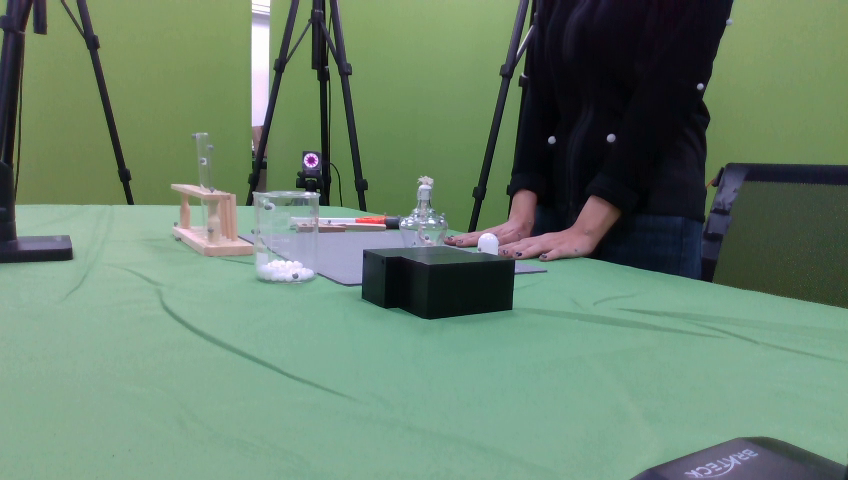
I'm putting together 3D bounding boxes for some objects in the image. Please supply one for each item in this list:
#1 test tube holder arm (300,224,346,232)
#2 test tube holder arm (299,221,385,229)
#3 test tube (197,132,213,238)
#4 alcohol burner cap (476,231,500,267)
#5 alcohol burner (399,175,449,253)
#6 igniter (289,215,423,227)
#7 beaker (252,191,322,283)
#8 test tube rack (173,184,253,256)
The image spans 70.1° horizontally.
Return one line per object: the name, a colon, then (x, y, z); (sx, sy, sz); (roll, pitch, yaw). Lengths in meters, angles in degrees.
test tube holder arm: (-0.189, -0.022, 1.137); (0.088, 0.015, 0.010); (-2, 43, -35)
test tube holder arm: (-0.154, -0.028, 1.166); (0.179, 0.015, 0.013); (-2, 43, -35)
test tube: (-0.305, -0.075, 0.849); (0.017, 0.150, 0.017); (-1, 10, 0)
alcohol burner cap: (0.088, 0.012, 0.830); (0.034, 0.048, 0.034); (2, 7, 0)
alcohol burner: (0.000, -0.041, 0.937); (0.078, 0.119, 0.078); (0, 7, 0)
igniter: (-0.133, -0.038, 1.232); (0.278, 0.025, 0.057); (-1, -2, -25)
beaker: (-0.158, -0.005, 0.686); (0.083, 0.100, 0.074); (5, 7, 23)
test tube rack: (-0.328, -0.036, 0.927); (0.067, 0.085, 0.241); (-2, 9, -32)
